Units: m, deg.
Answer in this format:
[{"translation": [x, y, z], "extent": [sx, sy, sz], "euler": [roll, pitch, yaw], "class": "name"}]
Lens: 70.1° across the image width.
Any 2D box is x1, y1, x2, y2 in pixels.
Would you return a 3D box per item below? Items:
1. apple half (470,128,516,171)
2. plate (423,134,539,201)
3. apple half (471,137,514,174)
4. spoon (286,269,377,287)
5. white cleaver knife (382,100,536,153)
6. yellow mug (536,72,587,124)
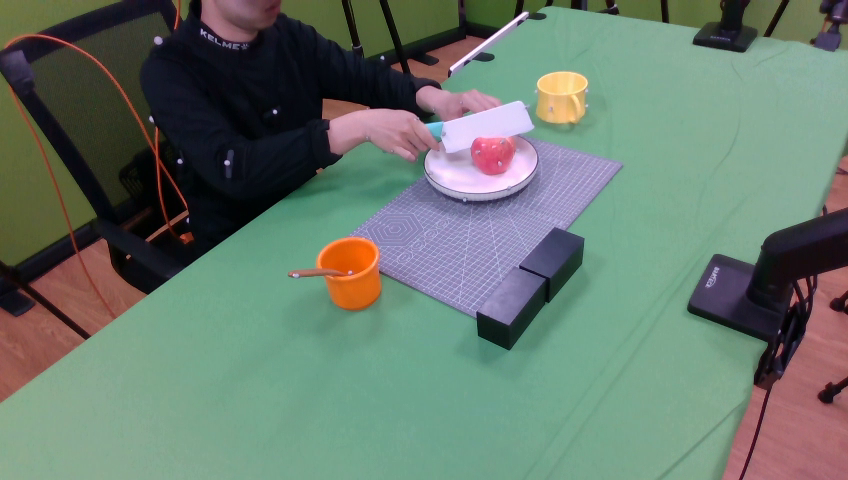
[{"translation": [0.127, -0.167, 1.088], "extent": [0.080, 0.075, 0.053], "euler": [1, 34, 18], "class": "apple half"}, {"translation": [0.103, -0.132, 1.092], "extent": [0.209, 0.038, 0.208], "euler": [-4, 40, 4], "class": "plate"}, {"translation": [0.118, -0.142, 1.060], "extent": [0.081, 0.081, 0.033], "euler": [4, 39, 14], "class": "apple half"}, {"translation": [-0.125, 0.049, 0.831], "extent": [0.041, 0.195, 0.021], "euler": [22, 92, 28], "class": "spoon"}, {"translation": [0.052, -0.185, 1.063], "extent": [0.285, 0.066, 0.021], "euler": [-9, 31, 25], "class": "white cleaver knife"}, {"translation": [0.284, -0.281, 1.222], "extent": [0.100, 0.064, 0.130], "euler": [-16, 42, -9], "class": "yellow mug"}]
